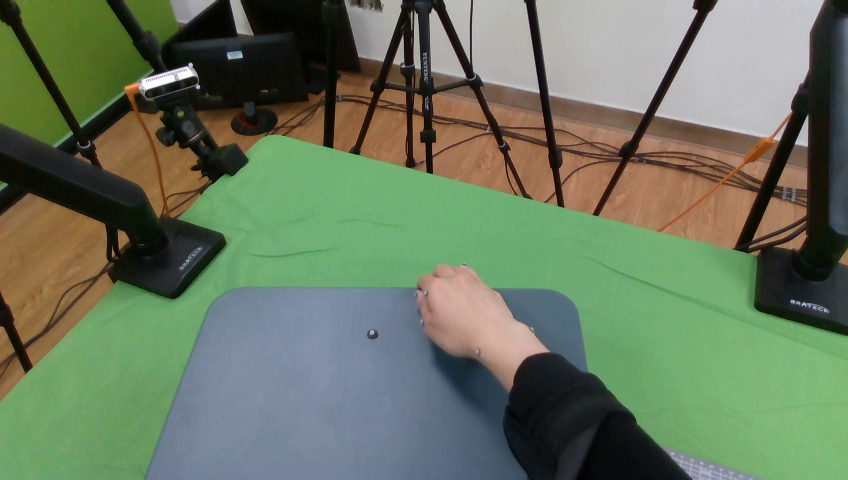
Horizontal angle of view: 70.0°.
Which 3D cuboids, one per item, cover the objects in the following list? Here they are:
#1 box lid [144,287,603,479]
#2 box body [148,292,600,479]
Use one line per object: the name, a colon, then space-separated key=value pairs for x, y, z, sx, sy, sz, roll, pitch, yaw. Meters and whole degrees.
box lid: x=-0.036 y=0.146 z=0.529 sx=0.371 sy=0.015 sz=0.260 roll=0 pitch=46 yaw=3
box body: x=-0.035 y=0.198 z=0.584 sx=0.364 sy=0.162 sz=0.251 roll=0 pitch=47 yaw=3
